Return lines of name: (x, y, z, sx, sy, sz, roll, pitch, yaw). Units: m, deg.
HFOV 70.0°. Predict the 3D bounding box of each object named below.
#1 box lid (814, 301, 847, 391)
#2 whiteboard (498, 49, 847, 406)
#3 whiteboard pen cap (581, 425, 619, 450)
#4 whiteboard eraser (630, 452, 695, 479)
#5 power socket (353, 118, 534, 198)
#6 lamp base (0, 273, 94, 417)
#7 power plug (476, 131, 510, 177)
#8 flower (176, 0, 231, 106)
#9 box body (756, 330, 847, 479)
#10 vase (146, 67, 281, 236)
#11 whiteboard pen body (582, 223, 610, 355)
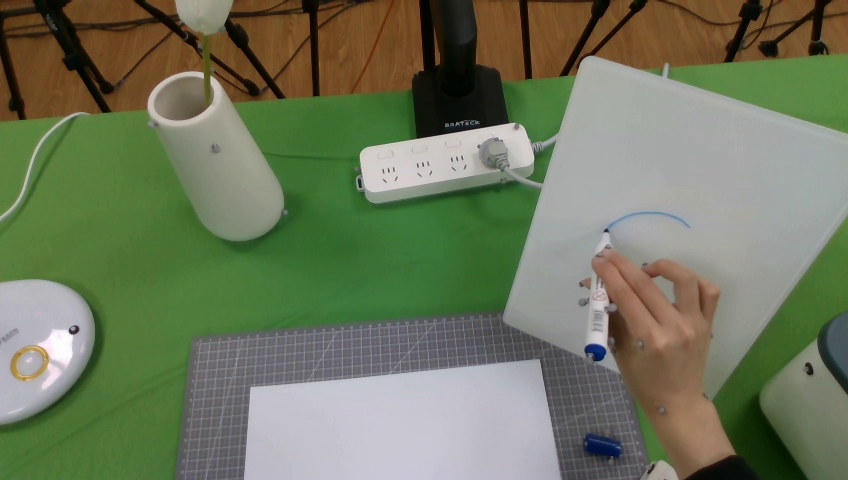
box lid: (0.486, 0.162, 0.415, 0.263, 0.015, 0.368, -21, 62, -9)
whiteboard: (0.224, -0.026, 0.570, 0.216, 0.308, 0.143, 23, 43, 15)
whiteboard pen cap: (0.168, 0.189, 0.578, 0.033, 0.018, 0.018, 13, 61, 6)
whiteboard eraser: (0.193, 0.246, 0.531, 0.055, 0.042, 0.112, 36, 68, 21)
power socket: (0.025, -0.101, 0.740, 0.227, 0.033, 0.071, -9, 61, -4)
lamp base: (-0.447, 0.064, 0.578, 0.178, 0.182, 0.160, 24, 64, 18)
power plug: (0.079, -0.095, 0.709, 0.035, 0.053, 0.072, 0, 67, 2)
flower: (-0.203, -0.122, 0.571, 0.038, 0.363, 0.044, 43, 60, 4)
box body: (0.490, 0.202, 0.479, 0.254, 0.162, 0.360, -21, 62, -10)
vase: (-0.221, -0.087, 0.646, 0.098, 0.201, 0.097, -1, 60, 3)
whiteboard pen body: (0.137, 0.032, 0.478, 0.017, 0.017, 0.140, 12, 45, 9)
